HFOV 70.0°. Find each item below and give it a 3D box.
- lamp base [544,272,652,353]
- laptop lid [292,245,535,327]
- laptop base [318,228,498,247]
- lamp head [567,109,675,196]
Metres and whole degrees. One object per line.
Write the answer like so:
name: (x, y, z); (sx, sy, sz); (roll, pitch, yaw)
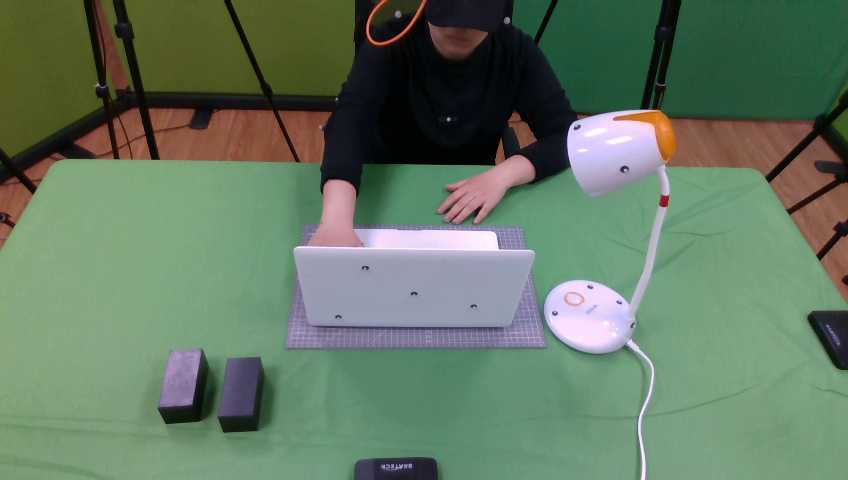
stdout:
lamp base: (0.310, 0.086, 1.029); (0.178, 0.181, 0.160); (32, 52, 21)
laptop lid: (-0.018, 0.080, 0.956); (0.357, 0.243, 0.013); (2, 54, -5)
laptop base: (-0.028, 0.066, 1.134); (0.355, 0.023, 0.234); (1, 42, -4)
lamp head: (0.272, -0.123, 0.818); (0.122, 0.113, 0.112); (-9, 35, 37)
